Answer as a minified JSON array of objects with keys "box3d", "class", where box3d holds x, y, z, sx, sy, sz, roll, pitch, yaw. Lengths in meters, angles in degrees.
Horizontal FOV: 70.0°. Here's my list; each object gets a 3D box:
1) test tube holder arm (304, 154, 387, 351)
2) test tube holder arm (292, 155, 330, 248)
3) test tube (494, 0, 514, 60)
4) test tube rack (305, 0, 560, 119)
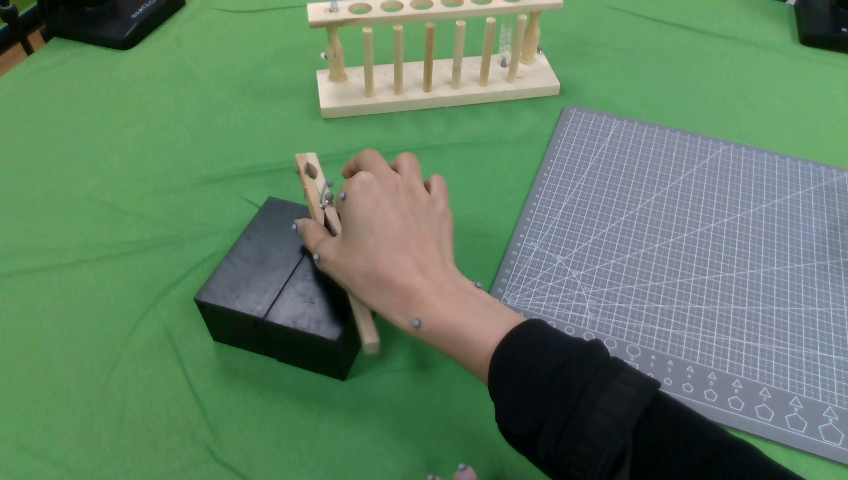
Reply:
[{"box3d":[-0.058,0.001,0.415,0.013,0.015,0.176,-18,52,-15],"class":"test tube holder arm"},{"box3d":[-0.081,-0.029,0.441,0.010,0.015,0.087,-17,52,-14],"class":"test tube holder arm"},{"box3d":[0.080,-0.243,0.584,0.017,0.151,0.017,-1,46,1],"class":"test tube"},{"box3d":[0.012,-0.186,0.599,0.243,0.086,0.066,-8,49,-8],"class":"test tube rack"}]
